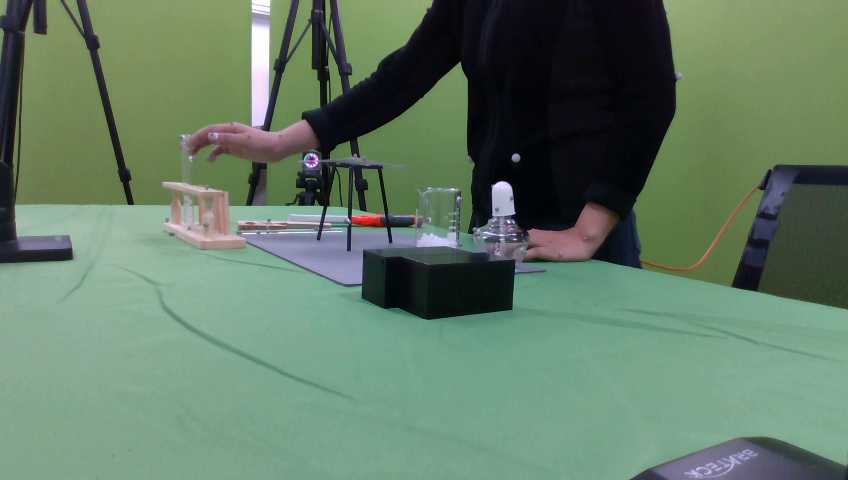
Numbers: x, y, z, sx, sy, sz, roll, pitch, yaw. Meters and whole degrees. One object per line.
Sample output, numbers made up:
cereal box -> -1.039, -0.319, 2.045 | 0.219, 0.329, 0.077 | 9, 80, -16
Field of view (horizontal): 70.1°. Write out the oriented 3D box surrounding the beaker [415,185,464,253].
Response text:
beaker -> 0.020, -0.033, 0.938 | 0.073, 0.100, 0.084 | 7, 10, 36

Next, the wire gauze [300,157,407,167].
wire gauze -> -0.112, -0.126, 0.958 | 0.121, 0.011, 0.126 | 11, 11, 41

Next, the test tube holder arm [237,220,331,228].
test tube holder arm -> -0.261, -0.029, 1.141 | 0.179, 0.015, 0.013 | -2, 42, -33

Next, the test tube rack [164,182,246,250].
test tube rack -> -0.361, -0.044, 0.982 | 0.067, 0.085, 0.241 | -3, 9, -34

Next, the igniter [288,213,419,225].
igniter -> -0.145, -0.044, 1.278 | 0.278, 0.025, 0.057 | -1, -2, -21

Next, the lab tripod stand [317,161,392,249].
lab tripod stand -> -0.111, -0.059, 0.963 | 0.148, 0.131, 0.148 | 4, 8, 0

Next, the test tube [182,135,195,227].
test tube -> -0.383, -0.095, 0.983 | 0.017, 0.150, 0.017 | -1, 2, 0

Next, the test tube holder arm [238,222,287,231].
test tube holder arm -> -0.297, -0.024, 1.113 | 0.088, 0.015, 0.010 | -2, 42, -32

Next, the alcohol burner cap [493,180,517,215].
alcohol burner cap -> 0.107, -0.057, 0.812 | 0.034, 0.048, 0.034 | -6, 11, 2

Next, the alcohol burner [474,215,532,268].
alcohol burner -> 0.107, -0.022, 0.819 | 0.078, 0.119, 0.078 | 1, 9, 0

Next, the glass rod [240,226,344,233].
glass rod -> -0.239, -0.019, 1.118 | 0.201, 0.008, 0.008 | -3, 9, -33
